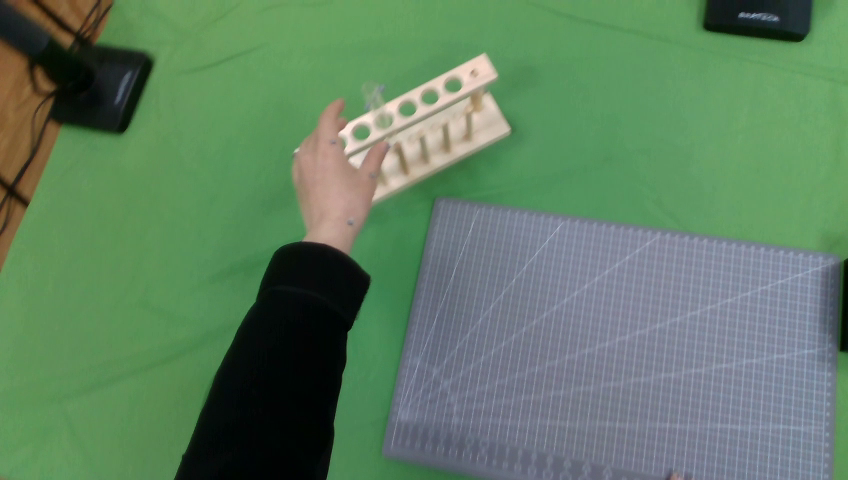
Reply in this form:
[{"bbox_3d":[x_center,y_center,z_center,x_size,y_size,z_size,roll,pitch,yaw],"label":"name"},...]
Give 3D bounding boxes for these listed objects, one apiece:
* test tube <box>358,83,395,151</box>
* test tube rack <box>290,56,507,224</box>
[{"bbox_3d":[-0.050,-0.132,0.669,0.017,0.151,0.017,-1,76,6],"label":"test tube"},{"bbox_3d":[-0.025,-0.113,0.712,0.242,0.086,0.066,-27,72,-1],"label":"test tube rack"}]
